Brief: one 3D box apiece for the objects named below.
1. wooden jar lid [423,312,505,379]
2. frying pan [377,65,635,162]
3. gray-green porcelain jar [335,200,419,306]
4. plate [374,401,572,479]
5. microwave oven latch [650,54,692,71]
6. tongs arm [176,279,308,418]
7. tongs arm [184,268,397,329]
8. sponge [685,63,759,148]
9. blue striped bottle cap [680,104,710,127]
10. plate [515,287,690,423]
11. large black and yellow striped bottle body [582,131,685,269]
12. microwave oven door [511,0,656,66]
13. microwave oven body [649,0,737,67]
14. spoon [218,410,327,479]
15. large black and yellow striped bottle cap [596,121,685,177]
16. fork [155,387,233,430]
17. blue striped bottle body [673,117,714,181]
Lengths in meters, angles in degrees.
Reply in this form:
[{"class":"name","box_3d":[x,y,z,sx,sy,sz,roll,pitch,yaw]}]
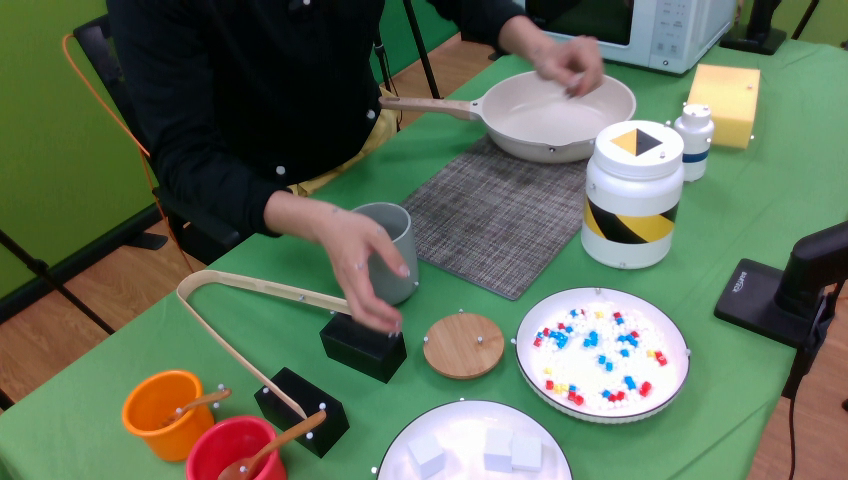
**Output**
[{"class":"wooden jar lid","box_3d":[0.053,0.142,0.800,0.108,0.021,0.108,-4,39,4]},{"class":"frying pan","box_3d":[0.150,-0.255,1.177,0.488,0.103,0.306,7,41,4]},{"class":"gray-green porcelain jar","box_3d":[-0.064,0.023,0.872,0.106,0.127,0.105,-4,41,4]},{"class":"plate","box_3d":[0.051,0.268,0.639,0.207,0.039,0.206,-3,40,3]},{"class":"microwave oven latch","box_3d":[0.531,-0.386,1.301,0.078,0.029,0.030,25,51,33]},{"class":"tongs arm","box_3d":[-0.254,0.133,0.801,0.028,0.028,0.384,-41,40,-23]},{"class":"tongs arm","box_3d":[-0.202,0.084,0.848,0.382,0.027,0.051,11,45,35]},{"class":"sponge","box_3d":[0.569,-0.263,1.164,0.117,0.061,0.207,12,45,22]},{"class":"blue striped bottle cap","box_3d":[0.443,-0.205,0.989,0.044,0.021,0.044,-1,41,1]},{"class":"plate","box_3d":[0.221,0.144,0.760,0.209,0.038,0.208,-4,40,4]},{"class":"large black and yellow striped bottle body","box_3d":[0.301,-0.063,0.877,0.131,0.185,0.130,-4,41,4]},{"class":"microwave oven door","box_3d":[0.350,-0.539,1.348,0.353,0.245,0.039,24,50,31]},{"class":"microwave oven body","box_3d":[0.475,-0.602,1.411,0.438,0.261,0.327,23,50,32]},{"class":"spoon","box_3d":[-0.164,0.225,0.640,0.193,0.022,0.041,-42,30,30]},{"class":"large black and yellow striped bottle cap","box_3d":[0.293,-0.126,0.821,0.115,0.019,0.114,-5,40,4]},{"class":"fork","box_3d":[-0.264,0.191,0.688,0.206,0.018,0.028,-33,7,44]},{"class":"blue striped bottle body","box_3d":[0.450,-0.166,1.022,0.063,0.121,0.063,-5,41,4]}]
